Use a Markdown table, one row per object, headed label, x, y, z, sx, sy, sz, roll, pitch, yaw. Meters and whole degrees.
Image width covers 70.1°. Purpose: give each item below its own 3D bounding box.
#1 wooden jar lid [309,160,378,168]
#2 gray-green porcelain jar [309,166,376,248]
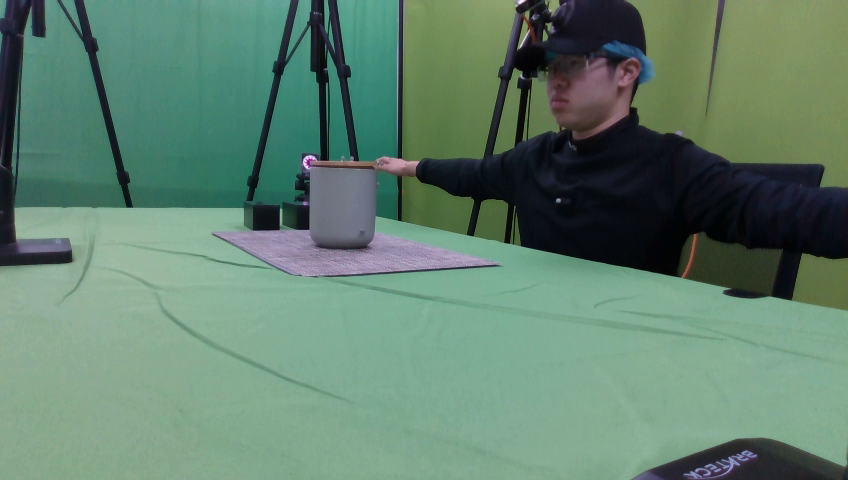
| label | x | y | z | sx | sy | sz | roll | pitch | yaw |
| --- | --- | --- | --- | --- | --- | --- | --- | --- | --- |
| wooden jar lid | -0.127 | -0.117 | 0.957 | 0.108 | 0.020 | 0.108 | 1 | 7 | 0 |
| gray-green porcelain jar | -0.130 | -0.054 | 0.966 | 0.106 | 0.126 | 0.106 | 2 | 7 | 0 |
